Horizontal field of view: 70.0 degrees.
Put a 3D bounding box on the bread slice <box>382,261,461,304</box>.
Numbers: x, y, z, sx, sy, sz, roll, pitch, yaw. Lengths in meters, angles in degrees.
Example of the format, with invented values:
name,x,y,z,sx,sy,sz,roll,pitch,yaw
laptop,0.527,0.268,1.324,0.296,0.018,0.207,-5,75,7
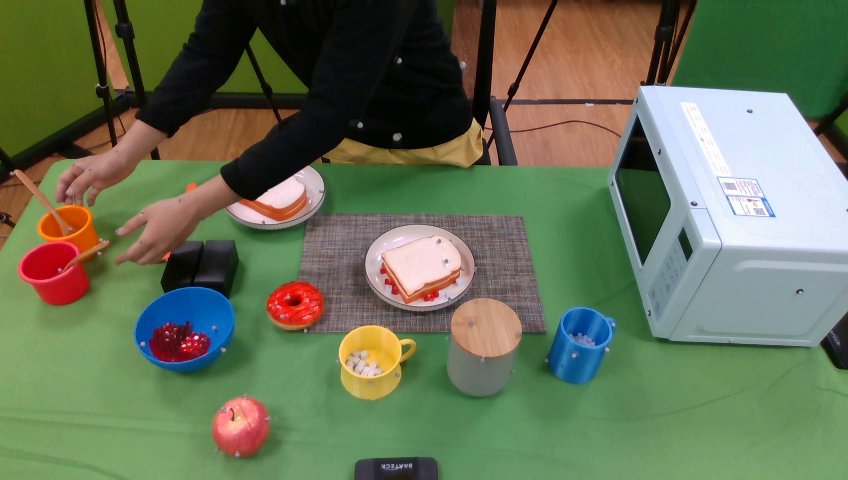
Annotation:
name,x,y,z,sx,sy,sz,roll,pitch,yaw
bread slice,0.000,0.055,1.129,0.131,0.019,0.104,-22,51,-21

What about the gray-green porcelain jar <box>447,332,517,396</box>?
name,x,y,z,sx,sy,sz,roll,pitch,yaw
gray-green porcelain jar,0.090,0.178,0.960,0.106,0.127,0.105,2,46,-2

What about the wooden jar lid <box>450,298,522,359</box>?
name,x,y,z,sx,sy,sz,roll,pitch,yaw
wooden jar lid,0.093,0.135,0.914,0.108,0.021,0.107,2,48,-3

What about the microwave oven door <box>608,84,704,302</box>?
name,x,y,z,sx,sy,sz,roll,pitch,yaw
microwave oven door,0.424,-0.096,1.137,0.039,0.245,0.353,3,46,-1

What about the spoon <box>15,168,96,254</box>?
name,x,y,z,sx,sy,sz,roll,pitch,yaw
spoon,-0.675,-0.052,1.108,0.041,0.021,0.194,-44,108,-36

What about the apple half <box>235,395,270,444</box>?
name,x,y,z,sx,sy,sz,roll,pitch,yaw
apple half,-0.245,0.259,0.893,0.033,0.082,0.081,-29,55,-22

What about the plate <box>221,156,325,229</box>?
name,x,y,z,sx,sy,sz,roll,pitch,yaw
plate,-0.308,-0.095,1.251,0.209,0.038,0.208,3,46,-3

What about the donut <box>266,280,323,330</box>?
name,x,y,z,sx,sy,sz,roll,pitch,yaw
donut,-0.223,0.113,1.051,0.099,0.048,0.098,2,46,-2

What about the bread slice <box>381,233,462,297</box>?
name,x,y,z,sx,sy,sz,roll,pitch,yaw
bread slice,0.001,0.039,1.108,0.134,0.018,0.106,-25,56,-22

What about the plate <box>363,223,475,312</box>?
name,x,y,z,sx,sy,sz,roll,pitch,yaw
plate,-0.009,0.054,1.126,0.208,0.039,0.206,2,46,-2

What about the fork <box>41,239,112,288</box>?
name,x,y,z,sx,sy,sz,roll,pitch,yaw
fork,-0.591,0.040,1.028,0.207,0.019,0.028,-27,36,29

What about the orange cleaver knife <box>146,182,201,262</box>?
name,x,y,z,sx,sy,sz,roll,pitch,yaw
orange cleaver knife,-0.494,-0.039,1.199,0.077,0.012,0.210,-3,48,2

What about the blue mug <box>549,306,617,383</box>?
name,x,y,z,sx,sy,sz,roll,pitch,yaw
blue mug,0.269,0.167,0.997,0.116,0.106,0.082,-19,51,-21

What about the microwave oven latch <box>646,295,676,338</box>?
name,x,y,z,sx,sy,sz,roll,pitch,yaw
microwave oven latch,0.412,0.133,1.060,0.030,0.029,0.078,3,46,0

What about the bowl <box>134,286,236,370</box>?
name,x,y,z,sx,sy,sz,roll,pitch,yaw
bowl,-0.377,0.156,0.981,0.151,0.077,0.150,2,46,-2

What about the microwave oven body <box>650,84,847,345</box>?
name,x,y,z,sx,sy,sz,roll,pitch,yaw
microwave oven body,0.569,-0.054,1.116,0.326,0.261,0.439,2,46,-1

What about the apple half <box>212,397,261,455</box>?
name,x,y,z,sx,sy,sz,roll,pitch,yaw
apple half,-0.276,0.276,0.877,0.053,0.075,0.080,-29,58,-20

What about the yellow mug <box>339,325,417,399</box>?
name,x,y,z,sx,sy,sz,roll,pitch,yaw
yellow mug,-0.072,0.191,0.978,0.131,0.064,0.099,-17,50,-20
